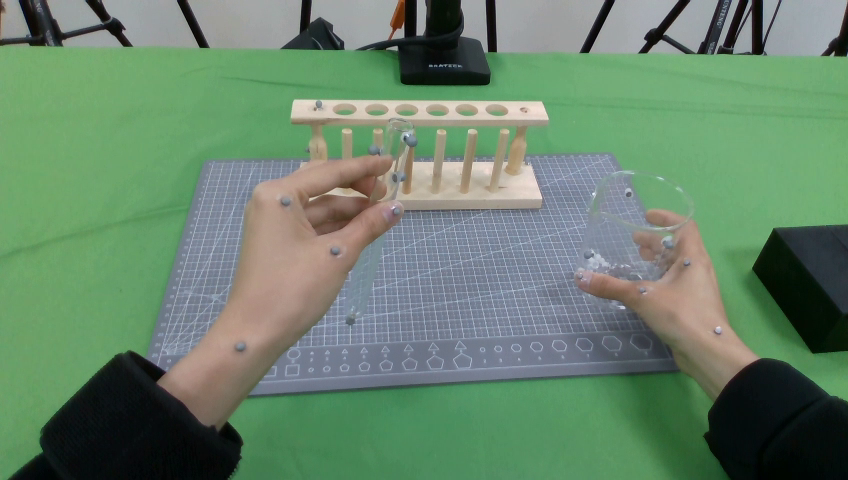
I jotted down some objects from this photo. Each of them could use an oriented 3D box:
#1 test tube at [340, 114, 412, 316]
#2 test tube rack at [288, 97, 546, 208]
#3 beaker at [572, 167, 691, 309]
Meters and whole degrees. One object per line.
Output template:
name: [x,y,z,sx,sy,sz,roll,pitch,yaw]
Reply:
test tube: [-0.033,-0.009,0.378,0.017,0.151,0.017,12,35,-8]
test tube rack: [-0.006,-0.086,0.593,0.243,0.086,0.066,-1,43,-5]
beaker: [0.163,0.002,0.500,0.084,0.101,0.073,-8,43,-10]
